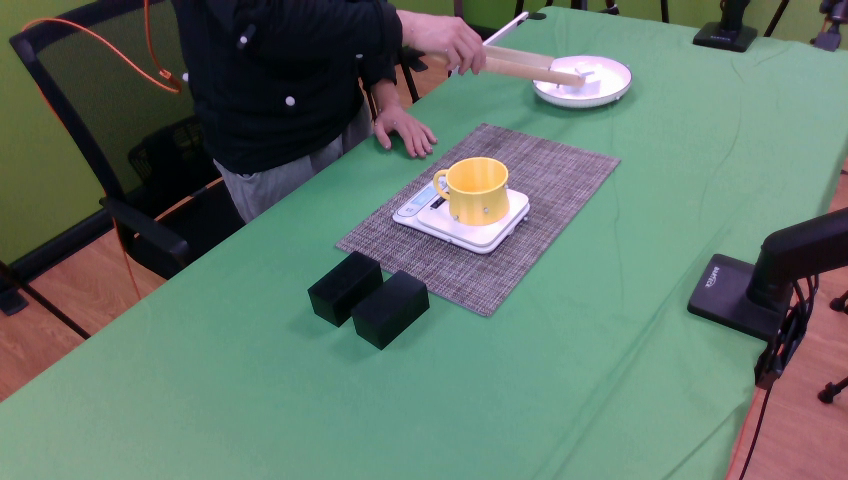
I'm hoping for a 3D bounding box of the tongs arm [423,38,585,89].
[{"bbox_3d":[0.165,-0.328,1.139,0.388,0.026,0.050,-3,41,-39],"label":"tongs arm"}]

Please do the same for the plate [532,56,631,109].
[{"bbox_3d":[0.336,-0.335,1.301,0.207,0.039,0.206,-4,41,4],"label":"plate"}]

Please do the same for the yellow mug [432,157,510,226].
[{"bbox_3d":[0.072,-0.082,0.968,0.130,0.064,0.100,13,45,24],"label":"yellow mug"}]

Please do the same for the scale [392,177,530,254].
[{"bbox_3d":[0.060,-0.050,1.006,0.199,0.032,0.149,22,48,30],"label":"scale"}]

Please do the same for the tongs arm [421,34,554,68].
[{"bbox_3d":[0.136,-0.361,1.172,0.391,0.028,0.028,-8,47,-43],"label":"tongs arm"}]
